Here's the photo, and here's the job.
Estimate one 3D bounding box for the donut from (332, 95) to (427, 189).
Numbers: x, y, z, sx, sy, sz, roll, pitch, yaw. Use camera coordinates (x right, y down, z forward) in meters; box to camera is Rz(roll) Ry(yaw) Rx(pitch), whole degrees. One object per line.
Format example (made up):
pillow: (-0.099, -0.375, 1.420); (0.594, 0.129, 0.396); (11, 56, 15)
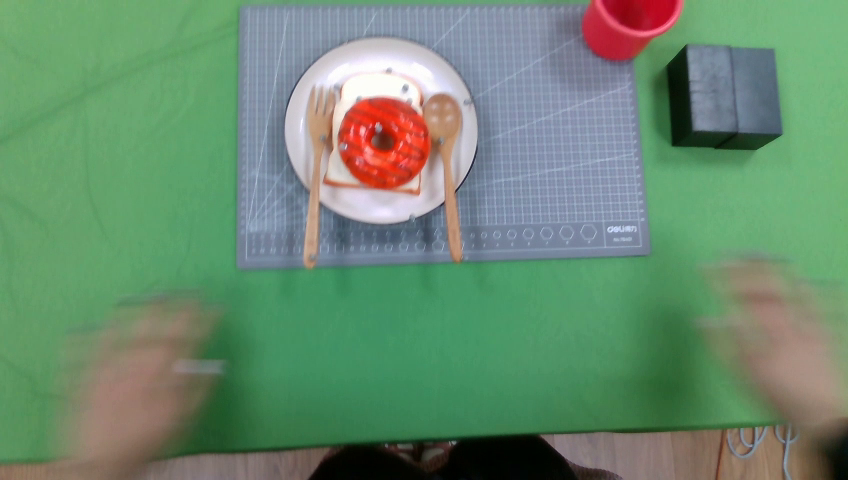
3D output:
donut: (-0.046, -0.101, 0.627); (0.099, 0.048, 0.099); (1, 84, -6)

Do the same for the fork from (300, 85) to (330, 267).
fork: (-0.116, -0.072, 0.634); (0.028, 0.018, 0.206); (6, 68, -17)

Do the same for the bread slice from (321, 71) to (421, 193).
bread slice: (-0.055, -0.121, 0.660); (0.105, 0.019, 0.131); (4, 82, -4)

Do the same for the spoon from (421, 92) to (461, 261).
spoon: (0.022, -0.071, 0.640); (0.041, 0.022, 0.192); (-4, 68, 1)

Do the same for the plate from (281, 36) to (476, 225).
plate: (-0.048, -0.116, 0.657); (0.209, 0.038, 0.208); (1, 81, -4)
